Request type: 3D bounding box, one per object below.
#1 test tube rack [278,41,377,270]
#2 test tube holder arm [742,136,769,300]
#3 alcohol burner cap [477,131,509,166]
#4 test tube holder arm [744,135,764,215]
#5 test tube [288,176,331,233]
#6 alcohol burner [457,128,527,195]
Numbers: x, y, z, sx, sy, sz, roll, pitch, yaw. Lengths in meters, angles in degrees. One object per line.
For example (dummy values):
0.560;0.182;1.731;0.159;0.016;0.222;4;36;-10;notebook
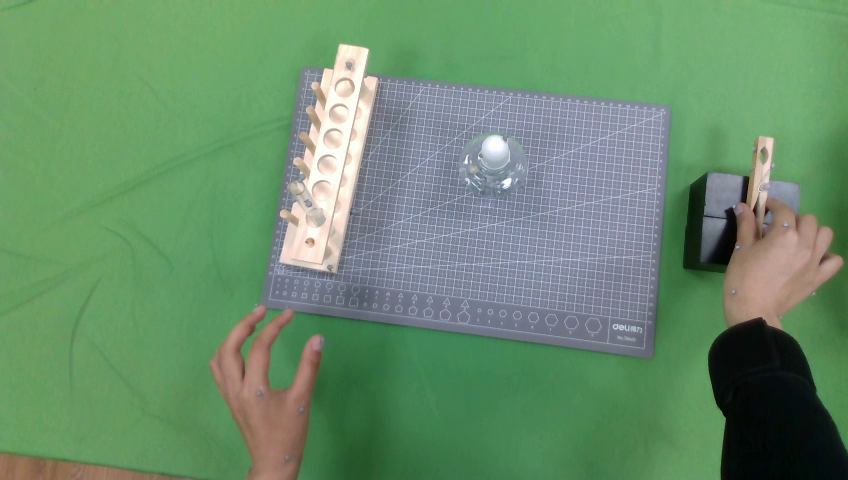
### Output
-0.114;-0.094;0.684;0.067;0.085;0.241;11;81;4;test tube rack
0.354;-0.025;0.645;0.013;0.015;0.178;7;82;12;test tube holder arm
0.072;-0.097;0.628;0.034;0.048;0.034;0;85;5;alcohol burner cap
0.355;-0.069;0.652;0.010;0.015;0.087;8;82;13;test tube holder arm
-0.116;-0.033;0.624;0.017;0.151;0.017;0;75;1;test tube
0.075;-0.090;0.663;0.078;0.119;0.077;0;82;3;alcohol burner
